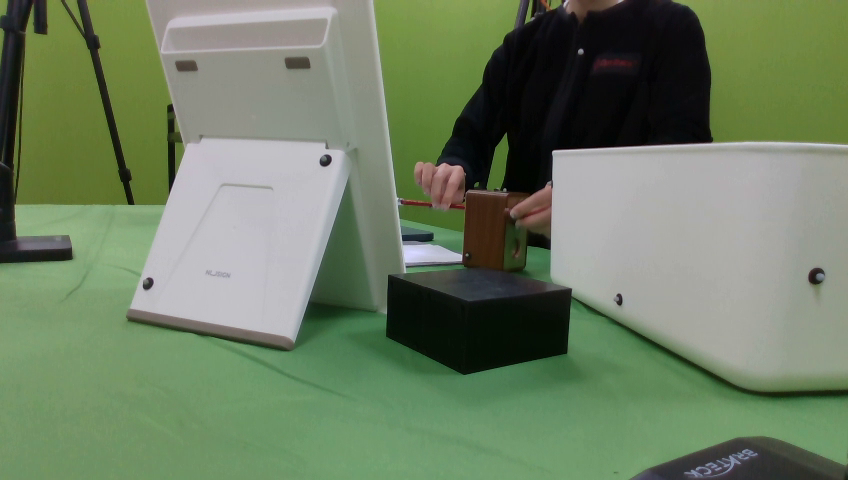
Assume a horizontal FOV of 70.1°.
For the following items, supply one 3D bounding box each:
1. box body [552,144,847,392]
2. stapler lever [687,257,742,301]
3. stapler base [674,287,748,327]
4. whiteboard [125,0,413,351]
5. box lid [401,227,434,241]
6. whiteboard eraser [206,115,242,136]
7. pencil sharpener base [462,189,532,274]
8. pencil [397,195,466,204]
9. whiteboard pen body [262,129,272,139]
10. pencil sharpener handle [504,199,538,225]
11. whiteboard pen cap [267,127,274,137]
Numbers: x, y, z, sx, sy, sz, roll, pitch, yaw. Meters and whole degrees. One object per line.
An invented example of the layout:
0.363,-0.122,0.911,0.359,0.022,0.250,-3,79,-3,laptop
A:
0.290,0.002,0.549,0.255,0.160,0.363,2,7,-10,box body
0.283,0.035,0.585,0.026,0.040,0.119,11,8,37,stapler lever
0.281,0.061,0.586,0.041,0.024,0.131,11,9,37,stapler base
-0.151,-0.050,0.471,0.216,0.305,0.144,6,27,24,whiteboard
-0.196,-0.015,1.105,0.373,0.015,0.262,-1,7,-32,box lid
-0.438,-0.249,1.320,0.056,0.042,0.112,-3,9,-30,whiteboard eraser
0.101,-0.012,0.817,0.076,0.107,0.062,9,9,40,pencil sharpener base
0.021,-0.061,0.891,0.193,0.012,0.012,0,4,37,pencil
-0.361,-0.245,1.393,0.017,0.017,0.140,0,5,-20,whiteboard pen body
0.130,-0.034,0.769,0.030,0.036,0.068,9,7,40,pencil sharpener handle
-0.340,-0.239,1.338,0.018,0.018,0.033,1,-1,-15,whiteboard pen cap
